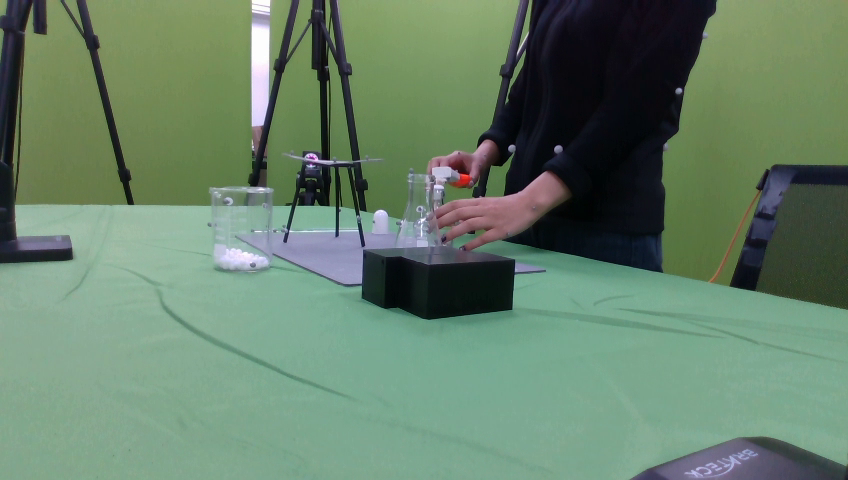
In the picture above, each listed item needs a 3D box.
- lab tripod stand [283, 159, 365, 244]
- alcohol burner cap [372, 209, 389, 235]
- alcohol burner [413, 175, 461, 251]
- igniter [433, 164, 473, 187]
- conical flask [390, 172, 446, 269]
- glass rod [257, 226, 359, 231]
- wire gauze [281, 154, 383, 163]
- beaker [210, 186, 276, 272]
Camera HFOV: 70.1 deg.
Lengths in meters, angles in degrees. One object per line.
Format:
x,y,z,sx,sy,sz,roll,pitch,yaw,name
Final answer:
-0.151,-0.063,0.983,0.148,0.131,0.148,4,7,0,lab tripod stand
-0.082,-0.035,1.143,0.034,0.048,0.034,2,6,0,alcohol burner cap
0.021,-0.043,0.957,0.078,0.119,0.078,1,6,0,alcohol burner
0.056,-0.116,1.106,0.057,0.025,0.277,-1,2,11,igniter
-0.006,-0.027,0.790,0.075,0.122,0.075,2,7,0,conical flask
-0.215,-0.022,1.151,0.201,0.008,0.008,-2,8,-28,glass rod
-0.146,-0.130,0.977,0.124,0.011,0.122,9,10,41,wire gauze
-0.224,-0.014,0.738,0.084,0.100,0.074,4,7,16,beaker
